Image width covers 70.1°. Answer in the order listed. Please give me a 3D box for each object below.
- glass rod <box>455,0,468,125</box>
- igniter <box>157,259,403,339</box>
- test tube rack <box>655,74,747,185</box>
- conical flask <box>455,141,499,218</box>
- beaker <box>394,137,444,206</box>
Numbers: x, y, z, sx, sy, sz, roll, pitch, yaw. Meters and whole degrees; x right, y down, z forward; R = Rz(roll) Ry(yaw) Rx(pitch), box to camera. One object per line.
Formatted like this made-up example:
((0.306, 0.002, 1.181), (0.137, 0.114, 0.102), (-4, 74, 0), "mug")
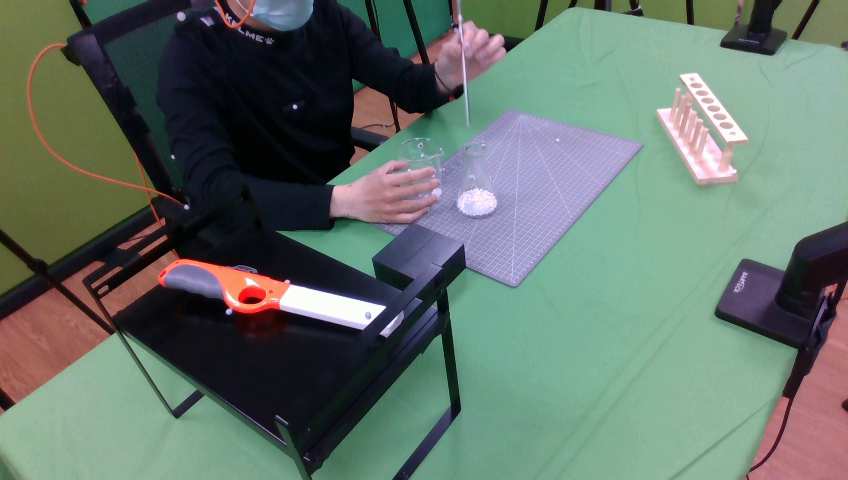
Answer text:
((0.059, -0.281, 0.952), (0.008, 0.199, 0.008), (-4, 3, 1), "glass rod")
((-0.157, 0.059, 0.637), (0.275, 0.025, 0.057), (11, 43, 14), "igniter")
((0.491, -0.205, 1.092), (0.067, 0.085, 0.241), (-5, 40, 3), "test tube rack")
((0.085, -0.103, 0.999), (0.075, 0.122, 0.075), (-4, 40, 4), "conical flask")
((-0.004, -0.117, 1.046), (0.084, 0.101, 0.074), (4, 42, 11), "beaker")
